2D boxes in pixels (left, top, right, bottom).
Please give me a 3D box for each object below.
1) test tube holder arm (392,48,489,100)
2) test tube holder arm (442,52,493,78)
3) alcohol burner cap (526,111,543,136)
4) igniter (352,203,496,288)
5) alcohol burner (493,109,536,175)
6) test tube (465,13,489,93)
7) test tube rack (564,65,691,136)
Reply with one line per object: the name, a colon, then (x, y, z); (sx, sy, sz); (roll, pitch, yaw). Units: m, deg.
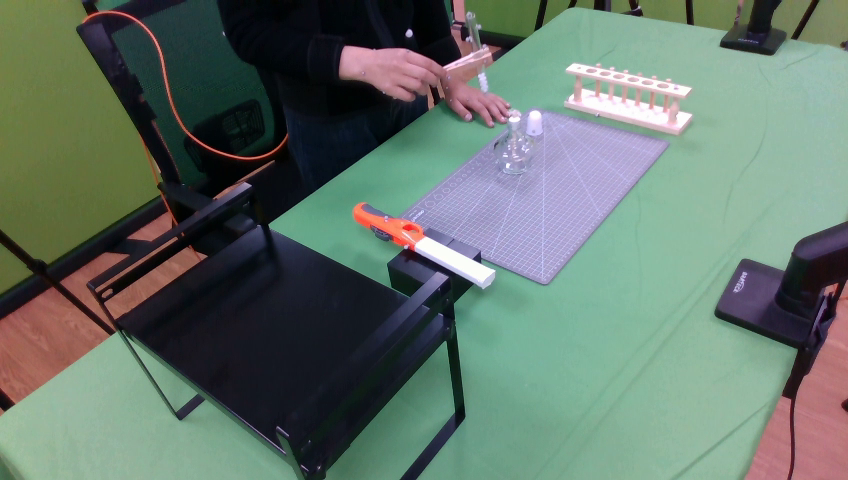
test tube holder arm: (0.029, -0.278, 1.012); (0.178, 0.015, 0.013); (-25, 51, -1)
test tube holder arm: (0.072, -0.291, 1.008); (0.088, 0.015, 0.010); (-18, 52, 4)
alcohol burner cap: (0.219, -0.232, 1.196); (0.034, 0.048, 0.033); (-4, 40, 4)
igniter: (-0.011, 0.002, 0.899); (0.274, 0.025, 0.057); (27, 45, 33)
alcohol burner: (0.163, -0.179, 1.087); (0.078, 0.119, 0.077); (-5, 38, 4)
test tube: (0.090, -0.306, 1.005); (0.017, 0.151, 0.017); (-9, 49, 11)
test tube rack: (0.404, -0.288, 1.204); (0.240, 0.085, 0.067); (24, 49, 32)
